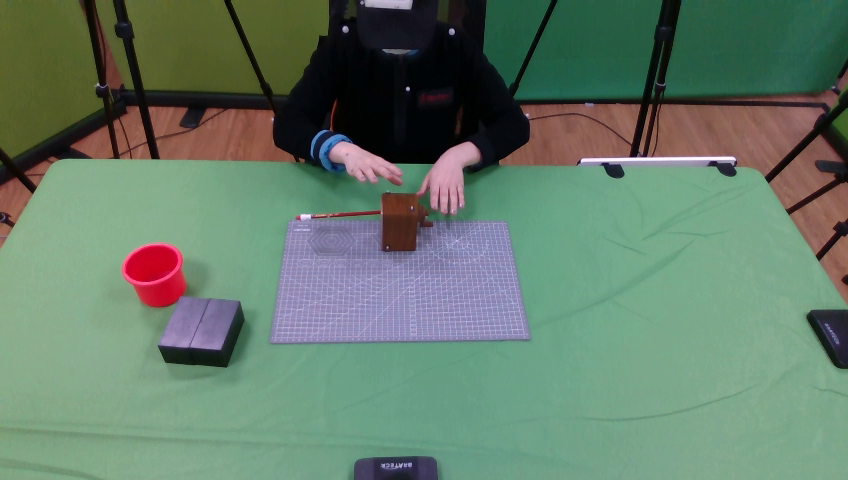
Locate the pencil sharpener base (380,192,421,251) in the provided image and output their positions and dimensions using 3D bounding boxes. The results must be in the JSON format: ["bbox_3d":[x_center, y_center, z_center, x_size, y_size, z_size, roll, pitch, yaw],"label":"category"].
[{"bbox_3d":[-0.045,-0.035,1.163,0.077,0.107,0.061,0,46,-4],"label":"pencil sharpener base"}]

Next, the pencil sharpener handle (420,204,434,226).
[{"bbox_3d":[0.006,-0.047,1.161,0.031,0.068,0.036,0,61,-4],"label":"pencil sharpener handle"}]

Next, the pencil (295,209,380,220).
[{"bbox_3d":[-0.147,-0.050,1.144,0.194,0.012,0.012,-4,46,3],"label":"pencil"}]
